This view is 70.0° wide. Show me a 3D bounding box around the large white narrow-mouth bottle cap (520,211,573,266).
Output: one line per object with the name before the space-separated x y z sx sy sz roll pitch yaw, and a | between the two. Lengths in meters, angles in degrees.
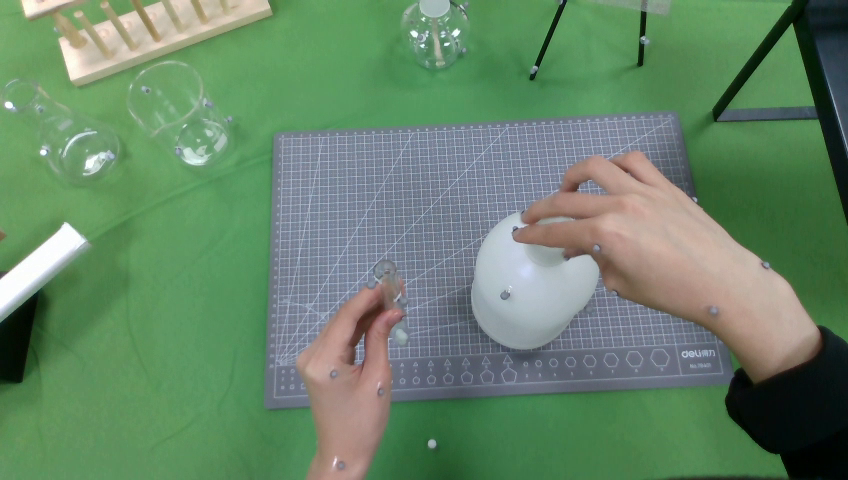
large white narrow-mouth bottle cap | 0.088 -0.001 0.436 0.038 0.024 0.037 0 72 1

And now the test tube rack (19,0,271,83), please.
test tube rack | -0.309 -0.270 0.687 0.242 0.086 0.066 -23 72 -7

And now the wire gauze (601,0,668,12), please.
wire gauze | 0.185 -0.280 0.585 0.121 0.011 0.124 18 73 5

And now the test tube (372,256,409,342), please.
test tube | -0.023 0.050 0.456 0.017 0.151 0.017 -1 64 2

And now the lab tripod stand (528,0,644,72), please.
lab tripod stand | 0.179 -0.255 0.648 0.148 0.132 0.147 0 70 0

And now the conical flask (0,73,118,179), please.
conical flask | -0.376 -0.119 0.616 0.075 0.122 0.075 0 70 1

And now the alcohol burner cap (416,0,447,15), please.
alcohol burner cap | 0.008 -0.261 0.625 0.034 0.048 0.033 0 70 1

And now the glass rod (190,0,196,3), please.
glass rod | -0.289 -0.328 0.636 0.008 0.201 0.008 -3 65 7

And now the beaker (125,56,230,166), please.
beaker | -0.250 -0.126 0.629 0.074 0.101 0.083 12 72 6

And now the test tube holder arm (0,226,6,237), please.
test tube holder arm | -0.440 0.018 0.575 0.010 0.015 0.087 41 76 13

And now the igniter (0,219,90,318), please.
igniter | -0.426 0.085 0.548 0.057 0.025 0.276 40 73 11

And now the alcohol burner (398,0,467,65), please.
alcohol burner | 0.010 -0.248 0.659 0.078 0.120 0.077 0 69 0

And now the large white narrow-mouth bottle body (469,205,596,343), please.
large white narrow-mouth bottle body | 0.092 0.026 0.519 0.102 0.196 0.101 0 72 2
